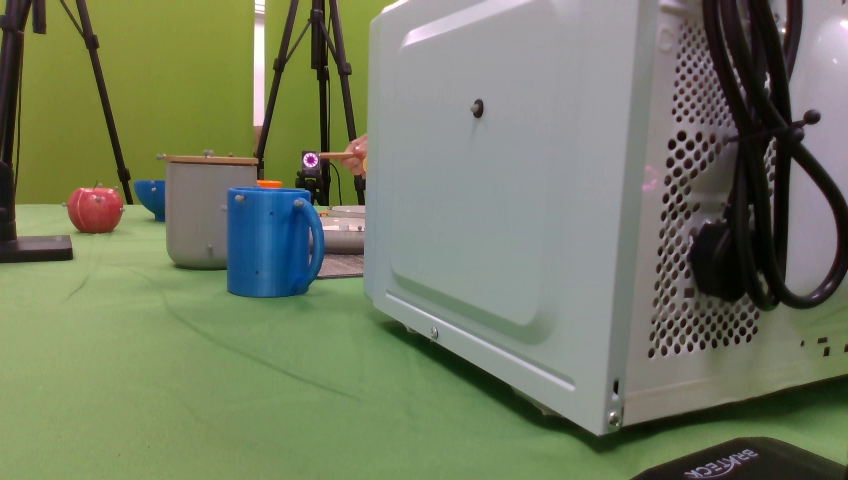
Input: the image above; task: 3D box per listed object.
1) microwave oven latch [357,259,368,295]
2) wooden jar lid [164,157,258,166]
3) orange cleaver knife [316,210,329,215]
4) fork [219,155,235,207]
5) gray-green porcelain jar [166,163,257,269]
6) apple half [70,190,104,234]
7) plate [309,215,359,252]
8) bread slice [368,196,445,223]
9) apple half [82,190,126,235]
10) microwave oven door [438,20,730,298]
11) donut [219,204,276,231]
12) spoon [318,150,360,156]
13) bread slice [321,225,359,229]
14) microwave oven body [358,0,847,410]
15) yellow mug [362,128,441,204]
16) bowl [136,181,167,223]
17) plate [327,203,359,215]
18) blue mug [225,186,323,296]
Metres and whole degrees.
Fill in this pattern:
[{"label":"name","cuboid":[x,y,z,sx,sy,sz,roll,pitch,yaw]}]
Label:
[{"label":"microwave oven latch","cuboid":[-0.019,0.031,0.529,0.079,0.029,0.030,-1,7,-26]},{"label":"wooden jar lid","cuboid":[-0.261,-0.093,0.746,0.108,0.020,0.108,0,9,0]},{"label":"orange cleaver knife","cuboid":[-0.259,-0.064,1.423,0.212,0.012,0.077,-4,3,-30]},{"label":"fork","cuboid":[-0.459,-0.134,1.415,0.028,0.018,0.207,-1,-34,-25]},{"label":"gray-green porcelain jar","cuboid":[-0.263,-0.031,0.754,0.106,0.126,0.106,2,7,0]},{"label":"apple half","cuboid":[-0.552,-0.048,1.010,0.053,0.074,0.081,-1,10,26]},{"label":"plate","cuboid":[-0.130,-0.011,0.945,0.208,0.039,0.207,2,8,0]},{"label":"bread slice","cuboid":[-0.040,-0.057,1.142,0.107,0.018,0.133,-8,-8,-39]},{"label":"apple half","cuboid":[-0.516,-0.046,0.994,0.032,0.081,0.081,0,6,26]},{"label":"microwave oven door","cuboid":[0.181,-0.076,0.618,0.358,0.243,0.039,-2,8,-28]},{"label":"donut","cuboid":[-0.316,-0.039,1.083,0.099,0.048,0.099,3,7,0]},{"label":"spoon","cuboid":[-0.085,-0.130,0.944,0.193,0.021,0.042,12,18,25]},{"label":"bread slice","cuboid":[-0.125,-0.009,0.938,0.131,0.019,0.105,5,8,32]},{"label":"microwave oven body","cuboid":[0.210,-0.051,0.471,0.444,0.260,0.324,-1,7,-28]},{"label":"yellow mug","cuboid":[-0.024,-0.116,0.898,0.130,0.064,0.100,-37,-20,32]},{"label":"bowl","cuboid":[-0.497,-0.076,1.221,0.151,0.077,0.151,2,8,0]},{"label":"plate","cuboid":[-0.102,-0.053,1.299,0.209,0.038,0.209,2,8,0]},{"label":"blue mug","cuboid":[-0.148,0.000,0.618,0.116,0.106,0.083,7,9,33]}]
